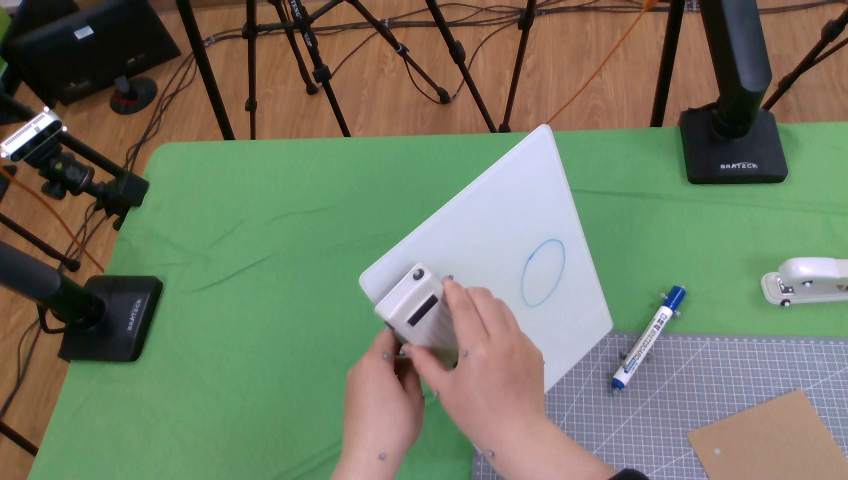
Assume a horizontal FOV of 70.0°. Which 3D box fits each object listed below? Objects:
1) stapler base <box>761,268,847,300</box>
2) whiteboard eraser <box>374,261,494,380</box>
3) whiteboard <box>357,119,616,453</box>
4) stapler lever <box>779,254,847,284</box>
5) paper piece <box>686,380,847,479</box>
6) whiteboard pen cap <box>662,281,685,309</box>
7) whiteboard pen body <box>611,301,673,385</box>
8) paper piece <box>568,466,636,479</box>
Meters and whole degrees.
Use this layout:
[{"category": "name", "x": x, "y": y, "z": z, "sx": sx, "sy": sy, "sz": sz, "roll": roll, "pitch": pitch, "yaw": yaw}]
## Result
[{"category": "stapler base", "x": 0.462, "y": 0.043, "z": 0.697, "sx": 0.130, "sy": 0.024, "sz": 0.041, "roll": -4, "pitch": 63, "yaw": 6}, {"category": "whiteboard eraser", "x": 0.009, "y": 0.069, "z": 0.518, "sx": 0.055, "sy": 0.114, "sz": 0.041, "roll": -44, "pitch": 37, "yaw": -2}, {"category": "whiteboard", "x": 0.051, "y": 0.038, "z": 0.645, "sx": 0.217, "sy": 0.309, "sz": 0.142, "roll": -39, "pitch": 40, "yaw": -12}, {"category": "stapler lever", "x": 0.460, "y": 0.031, "z": 0.676, "sx": 0.118, "sy": 0.040, "sz": 0.026, "roll": -5, "pitch": 62, "yaw": 7}, {"category": "paper piece", "x": 0.361, "y": 0.230, "z": 0.614, "sx": 0.136, "sy": 0.009, "sz": 0.137, "roll": -22, "pitch": 61, "yaw": 3}, {"category": "whiteboard pen cap", "x": 0.293, "y": 0.066, "z": 0.713, "sx": 0.018, "sy": 0.018, "sz": 0.033, "roll": 29, "pitch": 67, "yaw": 24}, {"category": "whiteboard pen body", "x": 0.257, "y": 0.108, "z": 0.697, "sx": 0.017, "sy": 0.017, "sz": 0.140, "roll": 32, "pitch": 70, "yaw": 25}, {"category": "paper piece", "x": 0.165, "y": 0.307, "z": 0.603, "sx": 0.135, "sy": 0.004, "sz": 0.134, "roll": -13, "pitch": 59, "yaw": 3}]
